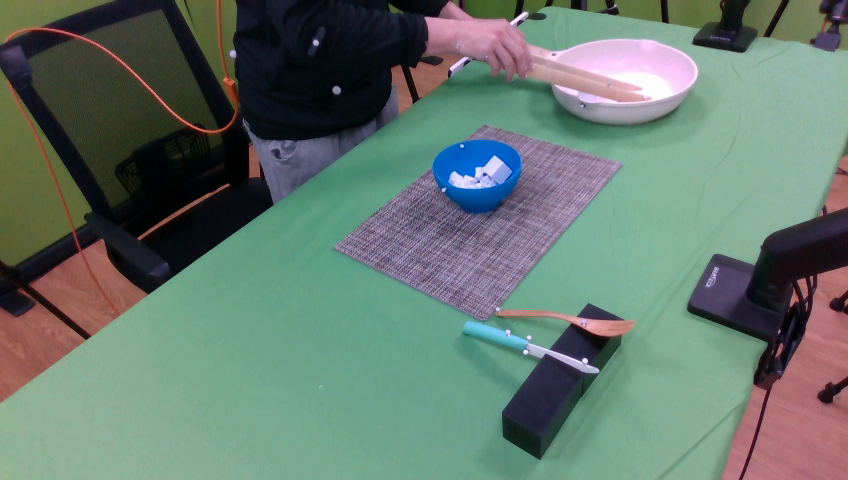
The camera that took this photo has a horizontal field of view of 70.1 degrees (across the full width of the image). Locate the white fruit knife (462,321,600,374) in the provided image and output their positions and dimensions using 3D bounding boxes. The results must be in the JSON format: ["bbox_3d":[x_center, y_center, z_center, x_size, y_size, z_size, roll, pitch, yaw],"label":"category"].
[{"bbox_3d":[0.126,0.132,0.752,0.205,0.027,0.016,12,48,42],"label":"white fruit knife"}]

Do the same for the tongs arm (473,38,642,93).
[{"bbox_3d":[0.262,-0.319,1.142,0.390,0.028,0.028,8,41,-25],"label":"tongs arm"}]

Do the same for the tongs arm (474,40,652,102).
[{"bbox_3d":[0.268,-0.303,1.123,0.388,0.026,0.050,6,38,-28],"label":"tongs arm"}]

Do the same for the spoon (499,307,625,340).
[{"bbox_3d":[0.169,0.102,0.773,0.042,0.021,0.192,-7,11,-38],"label":"spoon"}]

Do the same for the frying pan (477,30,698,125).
[{"bbox_3d":[0.321,-0.371,1.290,0.484,0.103,0.308,29,51,24],"label":"frying pan"}]

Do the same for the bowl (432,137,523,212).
[{"bbox_3d":[0.091,-0.100,1.022,0.151,0.077,0.150,-4,41,4],"label":"bowl"}]
